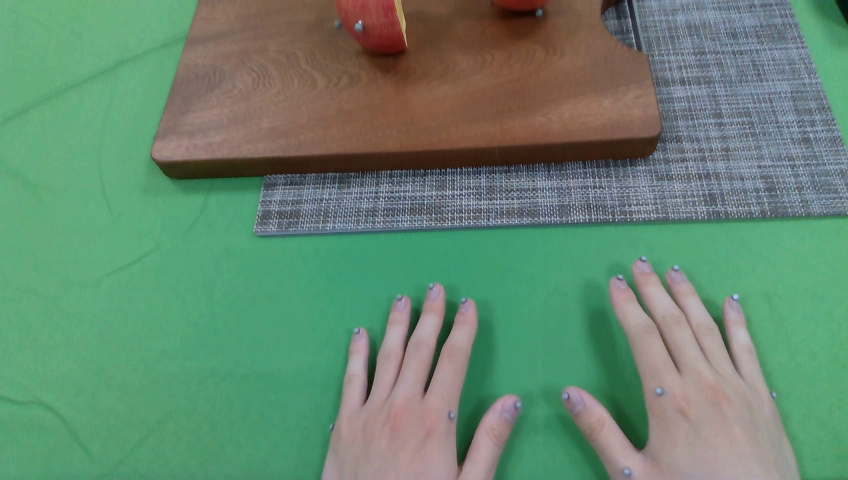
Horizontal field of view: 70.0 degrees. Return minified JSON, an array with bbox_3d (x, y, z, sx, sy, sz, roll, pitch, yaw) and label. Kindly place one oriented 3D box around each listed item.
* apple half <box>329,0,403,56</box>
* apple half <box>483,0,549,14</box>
[{"bbox_3d":[-0.049,-0.192,0.496,0.053,0.075,0.080,-10,63,6],"label":"apple half"},{"bbox_3d":[0.068,-0.210,0.511,0.081,0.033,0.080,8,43,-8],"label":"apple half"}]
